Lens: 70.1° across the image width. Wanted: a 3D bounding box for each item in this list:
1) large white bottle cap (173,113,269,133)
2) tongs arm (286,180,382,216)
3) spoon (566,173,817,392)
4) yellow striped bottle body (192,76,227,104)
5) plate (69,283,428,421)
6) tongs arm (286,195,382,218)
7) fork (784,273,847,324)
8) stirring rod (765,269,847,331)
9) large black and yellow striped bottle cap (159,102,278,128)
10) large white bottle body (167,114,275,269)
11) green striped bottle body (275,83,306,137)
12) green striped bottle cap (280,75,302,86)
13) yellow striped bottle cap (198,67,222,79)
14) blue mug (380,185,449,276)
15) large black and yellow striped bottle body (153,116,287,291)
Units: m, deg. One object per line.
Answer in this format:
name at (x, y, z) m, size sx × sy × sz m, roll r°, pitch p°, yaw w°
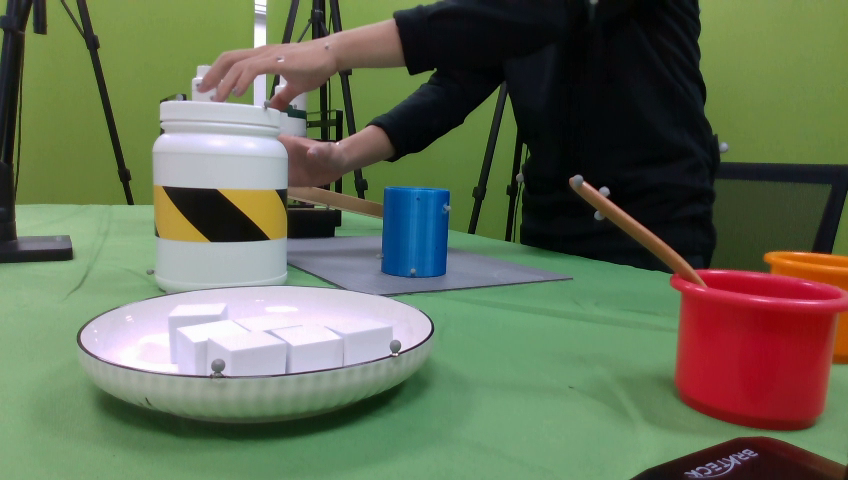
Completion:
large white bottle cap at (-0.254, -0.146, 0.761) m, size 0.115 × 0.018 × 0.115 m, roll 2°, pitch 7°, yaw 0°
tongs arm at (-0.122, -0.066, 1.147) m, size 0.387 × 0.026 × 0.050 m, roll 11°, pitch -2°, yaw -37°
spoon at (0.161, 0.024, 0.370) m, size 0.193 × 0.021 × 0.042 m, roll 47°, pitch 18°, yaw 3°
yellow striped bottle body at (-0.414, -0.268, 1.169) m, size 0.063 × 0.120 × 0.063 m, roll 2°, pitch 7°, yaw 0°
plate at (-0.102, 0.066, 0.380) m, size 0.208 × 0.039 × 0.207 m, roll 2°, pitch 7°, yaw 0°
tongs arm at (-0.165, -0.074, 1.216) m, size 0.389 × 0.027 × 0.028 m, roll 11°, pitch -6°, yaw -24°
fork at (0.332, 0.018, 0.443) m, size 0.028 × 0.018 × 0.207 m, roll -1°, pitch -36°, yaw -15°
stirring rod at (0.351, 0.020, 0.484) m, size 0.176 × 0.006 × 0.014 m, roll -40°, pitch -7°, yaw 12°
large black and yellow striped bottle cap at (-0.207, -0.125, 0.615) m, size 0.115 × 0.019 × 0.115 m, roll 2°, pitch 6°, yaw 0°
large white bottle body at (-0.257, -0.063, 0.772) m, size 0.131 × 0.184 × 0.130 m, roll 2°, pitch 7°, yaw 0°
green striped bottle body at (-0.269, -0.269, 1.221) m, size 0.063 × 0.119 × 0.063 m, roll 2°, pitch 7°, yaw 0°
green striped bottle cap at (-0.267, -0.320, 1.216) m, size 0.044 × 0.020 × 0.044 m, roll 4°, pitch 9°, yaw 0°
yellow striped bottle cap at (-0.412, -0.320, 1.163) m, size 0.044 × 0.018 × 0.044 m, roll 0°, pitch 6°, yaw 0°
blue mug at (-0.018, -0.016, 0.764) m, size 0.083 × 0.106 × 0.116 m, roll -2°, pitch 8°, yaw -25°
large black and yellow striped bottle body at (-0.208, -0.042, 0.626) m, size 0.131 × 0.184 × 0.130 m, roll 2°, pitch 7°, yaw 0°
